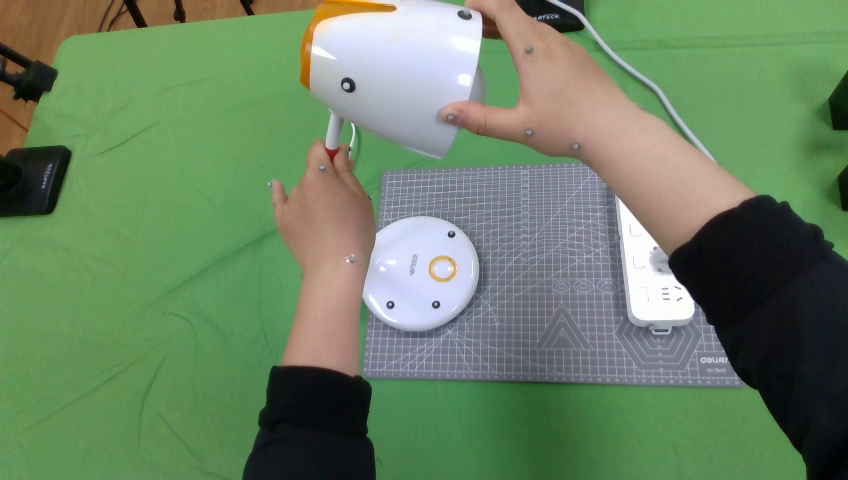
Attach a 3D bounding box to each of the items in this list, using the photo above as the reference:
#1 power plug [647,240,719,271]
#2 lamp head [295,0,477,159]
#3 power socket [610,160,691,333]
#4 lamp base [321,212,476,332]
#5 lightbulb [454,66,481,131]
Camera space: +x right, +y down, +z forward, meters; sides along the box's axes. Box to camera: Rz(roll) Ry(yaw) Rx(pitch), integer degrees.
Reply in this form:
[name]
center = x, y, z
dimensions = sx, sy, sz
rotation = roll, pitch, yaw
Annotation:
[power plug]
center = 0.302, 0.022, 0.715
dimensions = 0.072, 0.053, 0.035
rotation = 8, 70, 10
[lamp head]
center = -0.034, -0.124, 0.451
dimensions = 0.123, 0.113, 0.111
rotation = 9, 68, -7
[power socket]
center = 0.277, 0.001, 0.749
dimensions = 0.072, 0.033, 0.225
rotation = -3, 66, 9
[lamp base]
center = -0.039, 0.013, 0.723
dimensions = 0.179, 0.182, 0.159
rotation = -6, 66, 12
[lightbulb]
center = -0.010, -0.118, 0.448
dimensions = 0.108, 0.059, 0.059
rotation = 20, 70, -9
